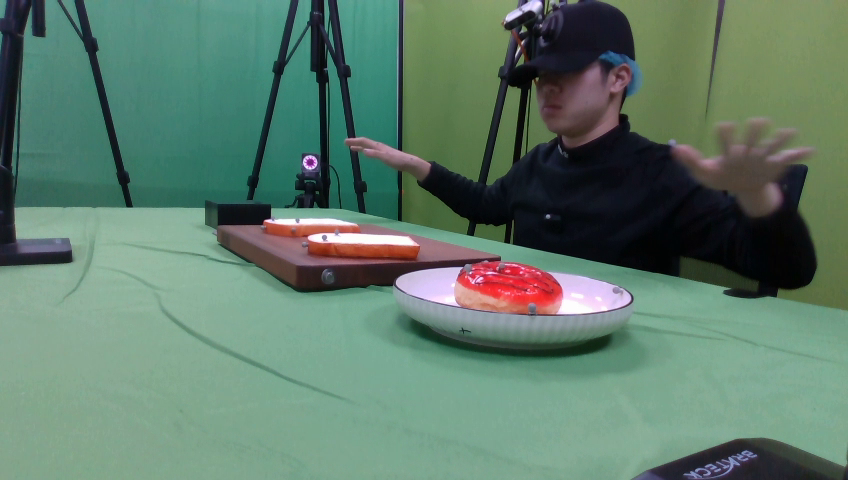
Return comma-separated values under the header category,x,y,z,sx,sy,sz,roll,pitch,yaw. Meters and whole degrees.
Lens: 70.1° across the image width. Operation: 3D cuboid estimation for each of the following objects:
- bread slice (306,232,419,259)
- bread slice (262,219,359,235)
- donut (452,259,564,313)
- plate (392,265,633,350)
category,x,y,z,sx,sy,sz,roll,pitch,yaw
bread slice,-0.077,0.006,0.747,0.135,0.018,0.106,2,7,-12
bread slice,-0.179,-0.021,0.931,0.132,0.019,0.104,-1,7,-35
donut,0.074,0.045,0.536,0.099,0.048,0.099,4,8,0
plate,0.075,0.057,0.533,0.209,0.038,0.209,3,7,0
